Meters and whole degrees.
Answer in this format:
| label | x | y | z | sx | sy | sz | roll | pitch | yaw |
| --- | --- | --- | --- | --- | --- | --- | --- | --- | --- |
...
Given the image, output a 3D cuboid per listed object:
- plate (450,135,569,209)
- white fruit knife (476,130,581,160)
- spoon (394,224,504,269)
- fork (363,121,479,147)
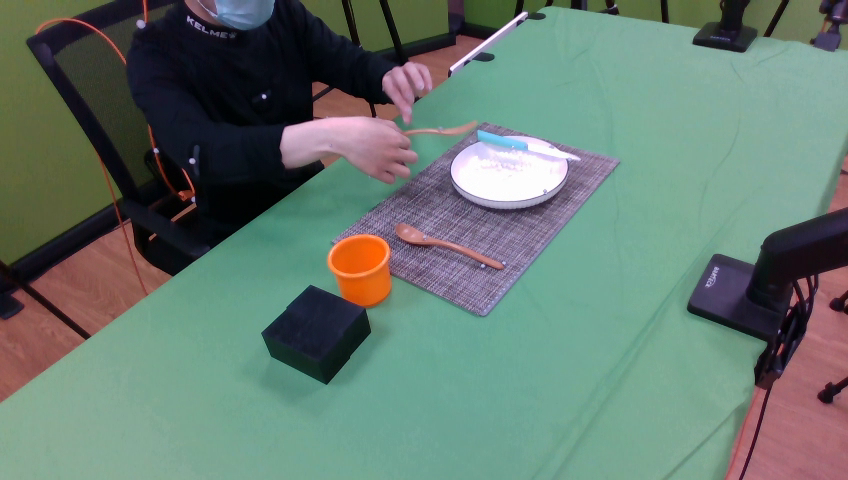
| label | x | y | z | sx | sy | sz | roll | pitch | yaw |
| --- | --- | --- | --- | --- | --- | --- | --- | --- | --- |
| plate | 0.149 | -0.117 | 1.065 | 0.209 | 0.038 | 0.208 | -3 | 41 | 3 |
| white fruit knife | 0.184 | -0.170 | 1.089 | 0.206 | 0.016 | 0.027 | 18 | 42 | 25 |
| spoon | 0.037 | 0.010 | 0.945 | 0.192 | 0.022 | 0.042 | 18 | 29 | 26 |
| fork | -0.008 | -0.182 | 1.038 | 0.207 | 0.019 | 0.028 | -5 | 33 | 12 |
